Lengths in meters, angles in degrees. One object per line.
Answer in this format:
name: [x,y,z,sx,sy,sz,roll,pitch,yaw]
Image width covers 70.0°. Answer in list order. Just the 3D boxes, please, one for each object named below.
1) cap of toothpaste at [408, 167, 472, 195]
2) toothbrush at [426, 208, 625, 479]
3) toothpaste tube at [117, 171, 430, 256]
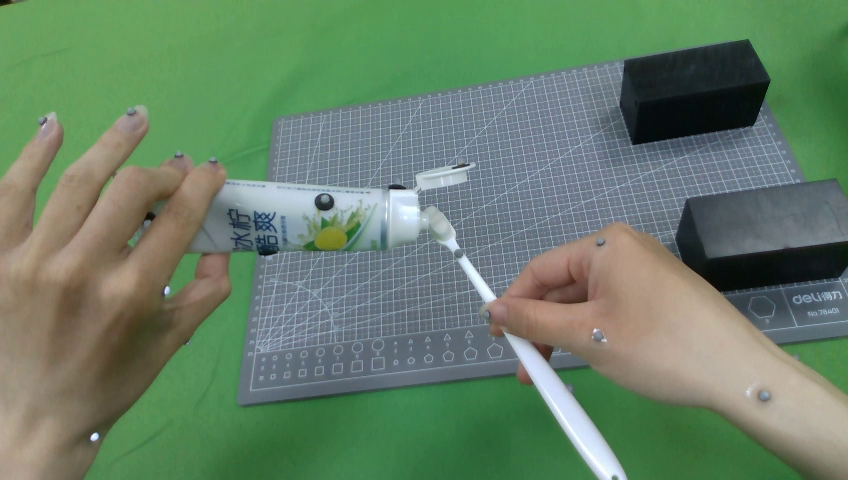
cap of toothpaste: [0.010,-0.033,0.339,0.037,0.037,0.011,-13,99,4]
toothbrush: [0.048,0.051,0.323,0.014,0.017,0.180,-31,66,-6]
toothpaste tube: [-0.079,-0.013,0.335,0.165,0.055,0.034,-1,31,-4]
